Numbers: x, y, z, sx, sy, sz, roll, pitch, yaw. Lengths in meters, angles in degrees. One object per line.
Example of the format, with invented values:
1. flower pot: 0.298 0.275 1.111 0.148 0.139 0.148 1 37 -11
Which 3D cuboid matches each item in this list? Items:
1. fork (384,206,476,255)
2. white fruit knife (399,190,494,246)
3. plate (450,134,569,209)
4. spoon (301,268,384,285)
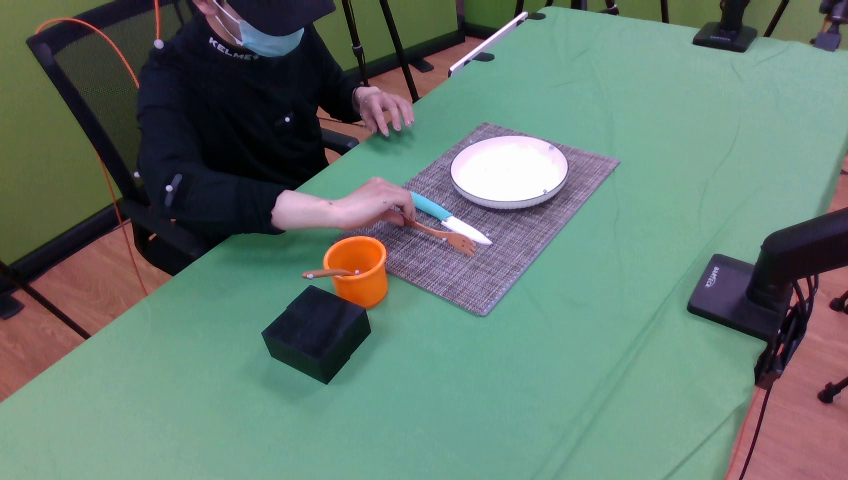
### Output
1. fork: 0.006 -0.020 0.983 0.205 0.028 0.019 24 29 34
2. white fruit knife: 0.036 -0.038 1.009 0.205 0.016 0.027 32 84 34
3. plate: 0.150 -0.117 1.066 0.209 0.038 0.208 -4 41 4
4. spoon: -0.111 0.048 0.831 0.041 0.195 0.021 17 90 24
